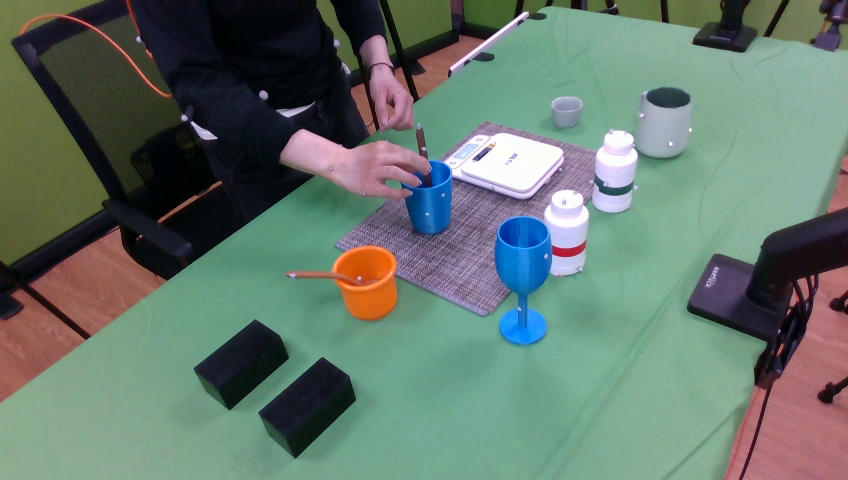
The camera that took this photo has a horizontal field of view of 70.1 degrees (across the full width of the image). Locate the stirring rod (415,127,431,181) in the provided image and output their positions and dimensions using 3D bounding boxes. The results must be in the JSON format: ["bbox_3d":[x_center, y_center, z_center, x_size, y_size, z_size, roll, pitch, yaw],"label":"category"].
[{"bbox_3d":[0.005,-0.095,0.934,0.006,0.177,0.014,17,45,32],"label":"stirring rod"}]

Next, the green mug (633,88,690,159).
[{"bbox_3d":[0.423,-0.217,1.099,0.093,0.105,0.124,-16,41,-10],"label":"green mug"}]

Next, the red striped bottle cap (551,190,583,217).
[{"bbox_3d":[0.200,-0.051,0.843,0.044,0.018,0.044,-3,41,3],"label":"red striped bottle cap"}]

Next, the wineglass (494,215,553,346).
[{"bbox_3d":[0.127,0.055,0.770,0.074,0.173,0.073,-4,40,4],"label":"wineglass"}]

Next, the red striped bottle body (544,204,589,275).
[{"bbox_3d":[0.206,-0.011,0.877,0.063,0.120,0.062,-5,41,4],"label":"red striped bottle body"}]

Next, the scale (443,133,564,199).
[{"bbox_3d":[0.137,-0.142,1.101,0.199,0.032,0.149,22,48,30],"label":"scale"}]

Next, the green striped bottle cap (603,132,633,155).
[{"bbox_3d":[0.302,-0.149,0.939,0.044,0.020,0.044,-3,40,3],"label":"green striped bottle cap"}]

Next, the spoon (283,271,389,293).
[{"bbox_3d":[-0.117,0.054,0.825,0.041,0.195,0.021,20,91,37],"label":"spoon"}]

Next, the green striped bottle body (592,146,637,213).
[{"bbox_3d":[0.307,-0.108,0.976,0.063,0.120,0.063,-4,41,4],"label":"green striped bottle body"}]

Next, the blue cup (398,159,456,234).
[{"bbox_3d":[0.007,-0.065,0.977,0.092,0.100,0.092,-4,39,4],"label":"blue cup"}]

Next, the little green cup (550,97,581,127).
[{"bbox_3d":[0.284,-0.255,1.213,0.061,0.039,0.061,-5,41,5],"label":"little green cup"}]
